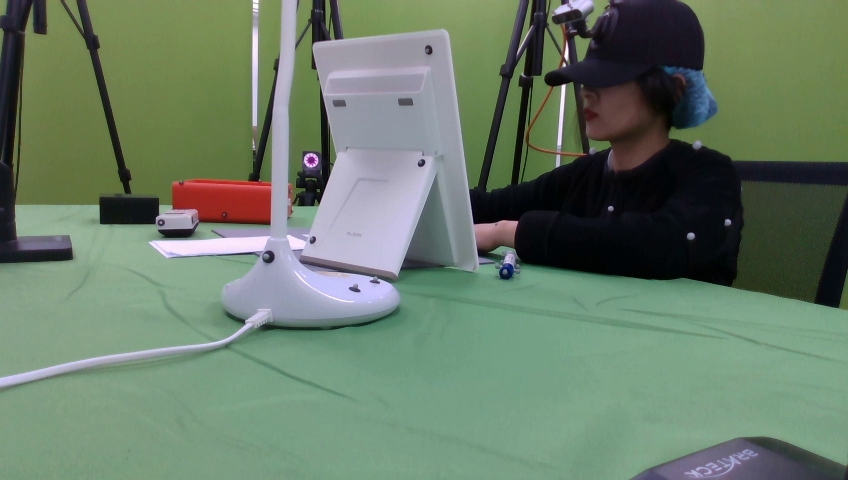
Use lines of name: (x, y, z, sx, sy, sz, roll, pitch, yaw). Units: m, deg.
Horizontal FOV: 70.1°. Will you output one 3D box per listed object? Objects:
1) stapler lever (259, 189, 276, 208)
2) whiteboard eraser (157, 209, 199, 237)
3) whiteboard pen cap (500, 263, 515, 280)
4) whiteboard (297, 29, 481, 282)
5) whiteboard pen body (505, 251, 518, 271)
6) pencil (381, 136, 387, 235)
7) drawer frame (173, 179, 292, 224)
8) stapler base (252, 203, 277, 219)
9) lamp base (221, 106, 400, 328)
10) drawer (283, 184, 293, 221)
stapler lever: (-0.335, -0.090, 1.300, 0.027, 0.040, 0.118, 15, 4, -10)
whiteboard eraser: (-0.411, -0.029, 1.016, 0.056, 0.042, 0.112, 2, 7, -16)
whiteboard pen cap: (0.105, 0.038, 0.758, 0.018, 0.018, 0.033, 4, 10, 10)
whiteboard: (-0.075, -0.082, 0.742, 0.216, 0.305, 0.144, 9, 29, 37)
whiteboard pen body: (0.117, 0.031, 0.814, 0.017, 0.017, 0.141, 4, 7, 10)
pencil: (-0.076, -0.102, 1.124, 0.012, 0.193, 0.012, 0, -15, 0)
drawer frame: (-0.400, -0.086, 1.300, 0.214, 0.082, 0.201, 1, 8, -8)
stapler base: (-0.341, -0.065, 1.301, 0.041, 0.024, 0.130, 15, 5, -10)
lamp base: (-0.101, -0.023, 0.531, 0.160, 0.180, 0.179, 4, 10, 10)
drawer: (-0.396, -0.085, 1.301, 0.212, 0.073, 0.194, 1, 8, -7)
